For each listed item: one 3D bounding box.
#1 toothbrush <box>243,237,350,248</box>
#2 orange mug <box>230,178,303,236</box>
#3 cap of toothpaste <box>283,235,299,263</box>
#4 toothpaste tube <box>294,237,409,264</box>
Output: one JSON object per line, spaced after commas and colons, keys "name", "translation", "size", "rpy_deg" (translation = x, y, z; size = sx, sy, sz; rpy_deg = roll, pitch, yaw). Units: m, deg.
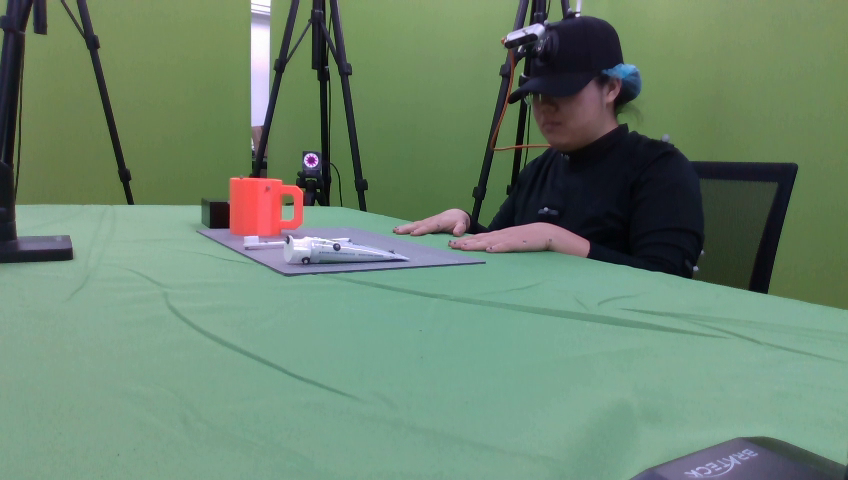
{"name": "toothbrush", "translation": [-0.191, 0.001, 0.927], "size": [0.183, 0.016, 0.014], "rpy_deg": [-2, -8, -41]}
{"name": "orange mug", "translation": [-0.275, -0.060, 1.058], "size": [0.126, 0.101, 0.083], "rpy_deg": [-2, 8, -5]}
{"name": "cap of toothpaste", "translation": [-0.168, 0.012, 0.764], "size": [0.011, 0.037, 0.037], "rpy_deg": [3, 6, -34]}
{"name": "toothpaste tube", "translation": [-0.101, 0.016, 0.806], "size": [0.166, 0.034, 0.055], "rpy_deg": [2, 12, -34]}
